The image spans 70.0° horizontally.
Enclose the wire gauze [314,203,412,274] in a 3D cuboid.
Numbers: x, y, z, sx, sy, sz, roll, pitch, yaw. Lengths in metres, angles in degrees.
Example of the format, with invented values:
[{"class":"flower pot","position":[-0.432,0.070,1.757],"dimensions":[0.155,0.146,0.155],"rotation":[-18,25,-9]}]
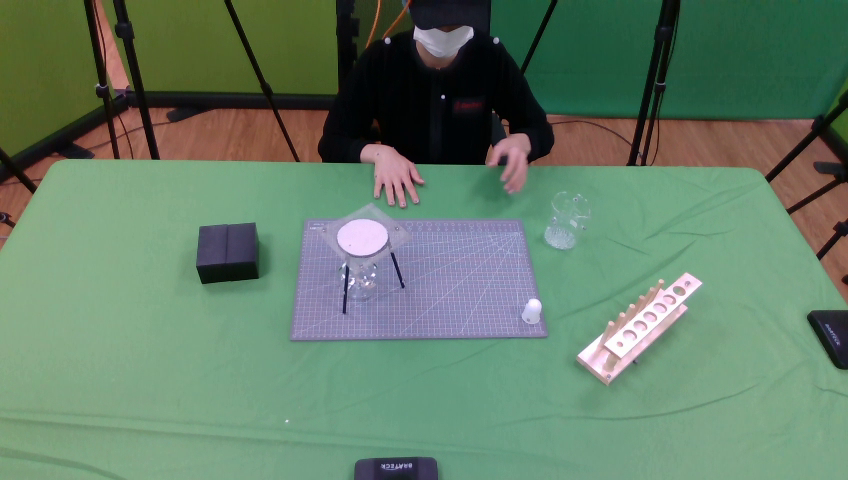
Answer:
[{"class":"wire gauze","position":[-0.103,-0.009,1.023],"dimensions":[0.121,0.011,0.124],"rotation":[-29,53,-27]}]

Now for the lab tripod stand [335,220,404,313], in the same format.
[{"class":"lab tripod stand","position":[-0.110,0.039,1.070],"dimensions":[0.148,0.132,0.147],"rotation":[1,46,-1]}]

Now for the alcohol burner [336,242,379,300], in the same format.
[{"class":"alcohol burner","position":[-0.118,0.050,1.072],"dimensions":[0.078,0.120,0.077],"rotation":[2,44,-1]}]

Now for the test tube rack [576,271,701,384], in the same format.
[{"class":"test tube rack","position":[0.373,0.138,1.047],"dimensions":[0.242,0.085,0.066],"rotation":[-31,56,-29]}]

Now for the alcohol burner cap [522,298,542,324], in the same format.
[{"class":"alcohol burner cap","position":[0.193,0.124,1.074],"dimensions":[0.034,0.048,0.033],"rotation":[1,46,-1]}]

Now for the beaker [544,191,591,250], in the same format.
[{"class":"beaker","position":[0.282,-0.035,1.199],"dimensions":[0.083,0.101,0.074],"rotation":[31,52,23]}]
